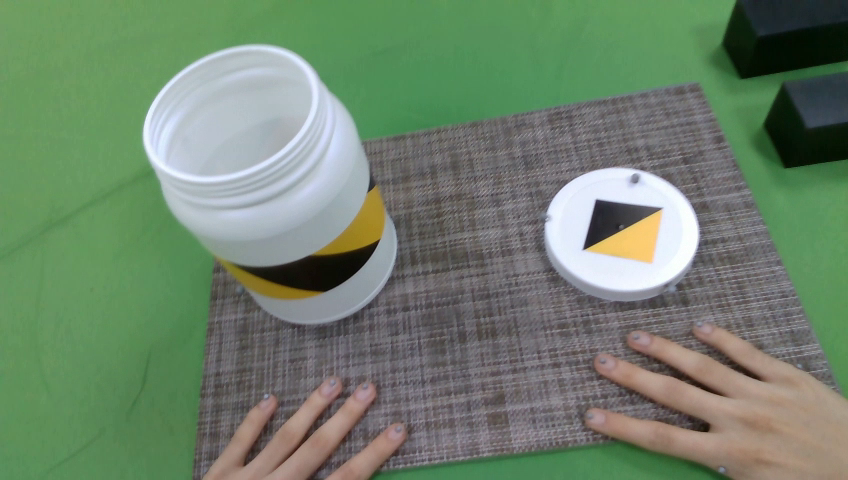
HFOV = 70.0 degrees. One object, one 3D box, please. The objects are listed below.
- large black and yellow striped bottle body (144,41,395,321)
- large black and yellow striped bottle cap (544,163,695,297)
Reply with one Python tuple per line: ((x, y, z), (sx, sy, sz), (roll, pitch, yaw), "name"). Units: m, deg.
((-0.100, -0.034, 0.433), (0.130, 0.186, 0.129), (-4, 60, 7), "large black and yellow striped bottle body")
((0.152, -0.011, 0.477), (0.115, 0.019, 0.114), (-4, 61, 7), "large black and yellow striped bottle cap")
